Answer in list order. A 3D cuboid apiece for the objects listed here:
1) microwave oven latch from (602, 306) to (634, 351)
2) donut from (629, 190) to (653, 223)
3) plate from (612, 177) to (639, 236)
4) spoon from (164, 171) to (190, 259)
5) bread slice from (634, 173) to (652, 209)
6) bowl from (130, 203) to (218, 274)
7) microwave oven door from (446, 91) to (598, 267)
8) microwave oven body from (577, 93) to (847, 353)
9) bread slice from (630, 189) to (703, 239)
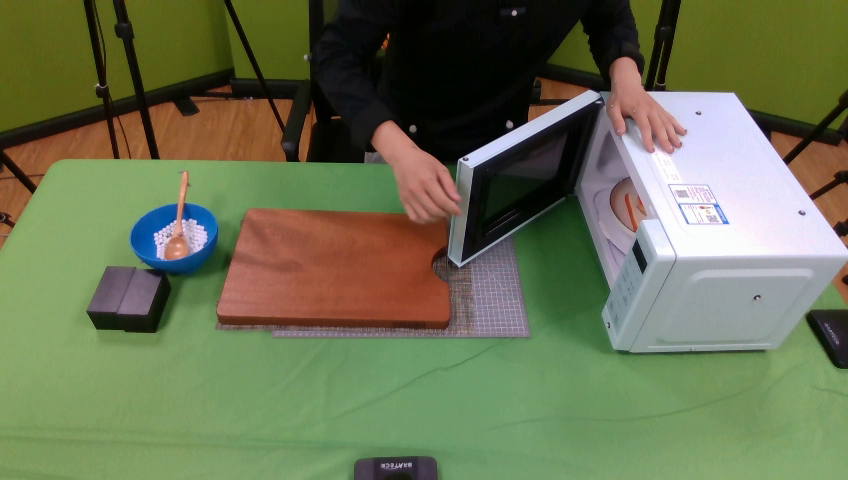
[{"bbox_3d":[0.332,0.153,1.044,0.030,0.029,0.078,0,45,-4],"label":"microwave oven latch"},{"bbox_3d":[0.443,-0.059,1.164,0.099,0.048,0.098,1,50,-1],"label":"donut"},{"bbox_3d":[0.472,-0.051,1.187,0.208,0.039,0.206,-1,45,1],"label":"plate"},{"bbox_3d":[-0.452,-0.046,1.129,0.041,0.022,0.193,-1,69,-3],"label":"spoon"},{"bbox_3d":[0.465,-0.085,1.136,0.134,0.018,0.106,8,43,-11],"label":"bread slice"},{"bbox_3d":[-0.451,0.009,1.116,0.151,0.077,0.150,3,45,-2],"label":"bowl"},{"bbox_3d":[0.191,-0.120,1.157,0.356,0.245,0.039,-31,55,-30],"label":"microwave oven door"},{"bbox_3d":[0.475,-0.041,1.110,0.326,0.261,0.438,-1,45,-4],"label":"microwave oven body"},{"bbox_3d":[0.478,-0.052,1.189,0.131,0.019,0.104,18,47,13],"label":"bread slice"}]
